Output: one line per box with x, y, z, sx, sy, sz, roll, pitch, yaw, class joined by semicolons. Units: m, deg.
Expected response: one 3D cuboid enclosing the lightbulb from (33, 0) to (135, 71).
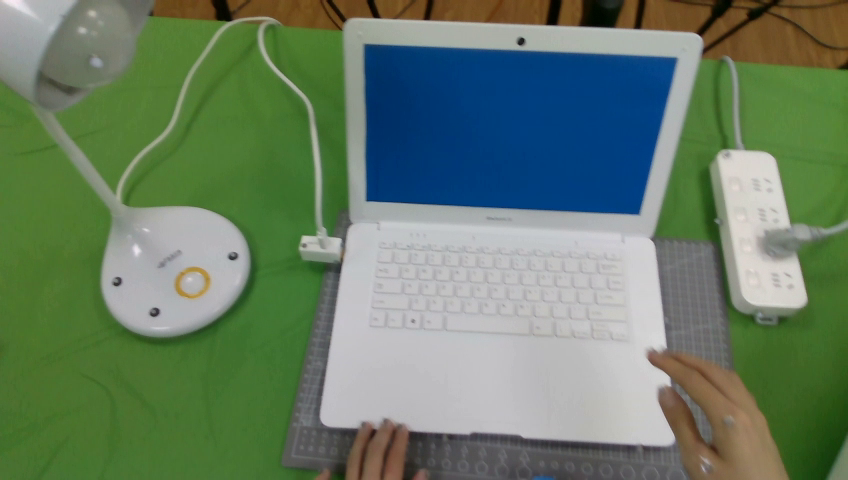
-0.212;-0.149;0.344;0.059;0.059;0.108;-34;106;-16;lightbulb

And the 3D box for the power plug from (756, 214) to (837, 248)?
0.405;-0.003;0.666;0.072;0.053;0.035;14;62;6;power plug

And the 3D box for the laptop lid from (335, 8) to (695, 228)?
0.085;-0.119;0.646;0.357;0.243;0.013;1;31;2;laptop lid

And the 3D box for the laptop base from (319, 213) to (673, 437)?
0.076;0.084;0.654;0.354;0.023;0.233;3;66;1;laptop base

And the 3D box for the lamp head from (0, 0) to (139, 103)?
-0.243;-0.155;0.346;0.123;0.112;0.112;32;64;-10;lamp head

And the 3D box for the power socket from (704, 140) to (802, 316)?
0.378;-0.023;0.702;0.072;0.033;0.225;4;62;1;power socket

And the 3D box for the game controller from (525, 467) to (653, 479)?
0.151;0.260;0.545;0.155;0.052;0.096;5;60;2;game controller

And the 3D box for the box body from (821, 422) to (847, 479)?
0.537;0.185;0.519;0.252;0.161;0.363;36;68;17;box body

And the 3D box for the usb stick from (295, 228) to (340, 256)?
-0.113;0.003;0.682;0.059;0.027;0.021;7;56;0;usb stick

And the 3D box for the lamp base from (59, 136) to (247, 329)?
-0.292;-0.018;0.617;0.178;0.182;0.160;30;66;18;lamp base
